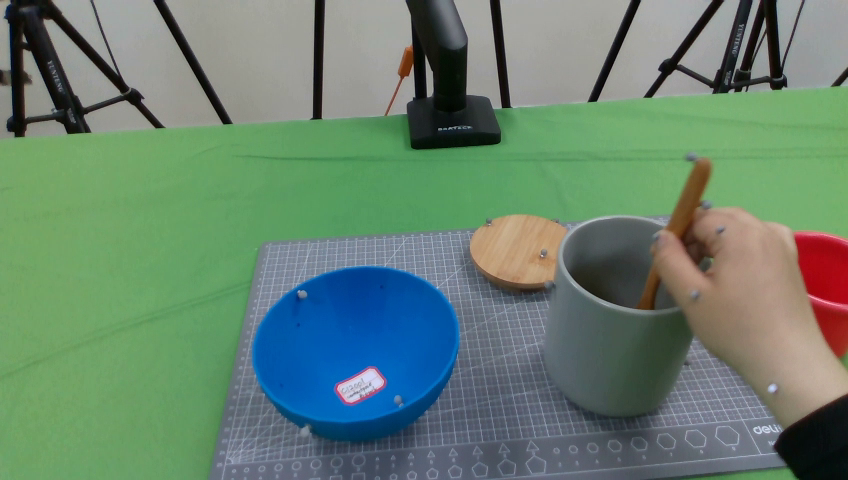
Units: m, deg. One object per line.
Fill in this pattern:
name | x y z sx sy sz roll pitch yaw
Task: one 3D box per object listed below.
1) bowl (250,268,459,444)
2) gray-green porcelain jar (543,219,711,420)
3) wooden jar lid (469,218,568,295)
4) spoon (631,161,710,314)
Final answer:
bowl | -0.049 0.099 0.463 0.151 0.077 0.150 -1 40 1
gray-green porcelain jar | 0.146 0.064 0.460 0.106 0.127 0.105 -1 39 1
wooden jar lid | 0.098 0.017 0.605 0.108 0.021 0.107 -1 38 1
spoon | 0.161 0.030 0.420 0.022 0.195 0.041 -18 45 -20
